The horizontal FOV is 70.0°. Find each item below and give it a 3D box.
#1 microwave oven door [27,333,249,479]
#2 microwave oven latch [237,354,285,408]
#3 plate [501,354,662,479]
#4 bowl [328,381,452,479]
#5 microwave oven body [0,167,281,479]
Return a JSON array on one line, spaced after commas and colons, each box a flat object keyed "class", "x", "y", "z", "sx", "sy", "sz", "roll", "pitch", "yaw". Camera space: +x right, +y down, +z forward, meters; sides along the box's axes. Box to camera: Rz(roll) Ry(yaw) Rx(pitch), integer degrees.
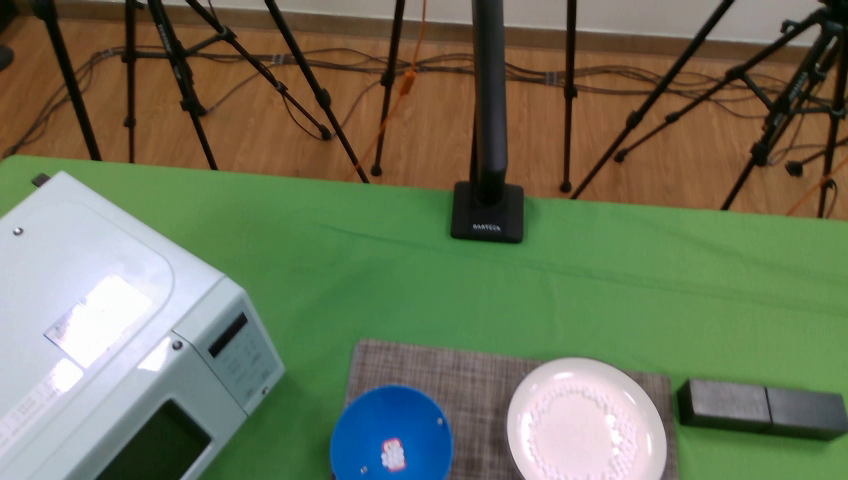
[{"class": "microwave oven door", "x": -0.347, "y": 0.283, "z": 0.640, "sx": 0.039, "sy": 0.246, "sz": 0.354, "roll": 29, "pitch": 61, "yaw": 18}, {"class": "microwave oven latch", "x": -0.224, "y": 0.187, "z": 0.825, "sx": 0.030, "sy": 0.030, "sz": 0.079, "roll": 31, "pitch": 63, "yaw": 18}, {"class": "plate", "x": 0.204, "y": 0.254, "z": 0.802, "sx": 0.208, "sy": 0.039, "sz": 0.205, "roll": 0, "pitch": 57, "yaw": 0}, {"class": "bowl", "x": -0.042, "y": 0.265, "z": 0.769, "sx": 0.151, "sy": 0.077, "sz": 0.150, "roll": 0, "pitch": 57, "yaw": 0}, {"class": "microwave oven body", "x": -0.446, "y": 0.190, "z": 0.706, "sx": 0.324, "sy": 0.262, "sz": 0.440, "roll": 29, "pitch": 62, "yaw": 17}]
